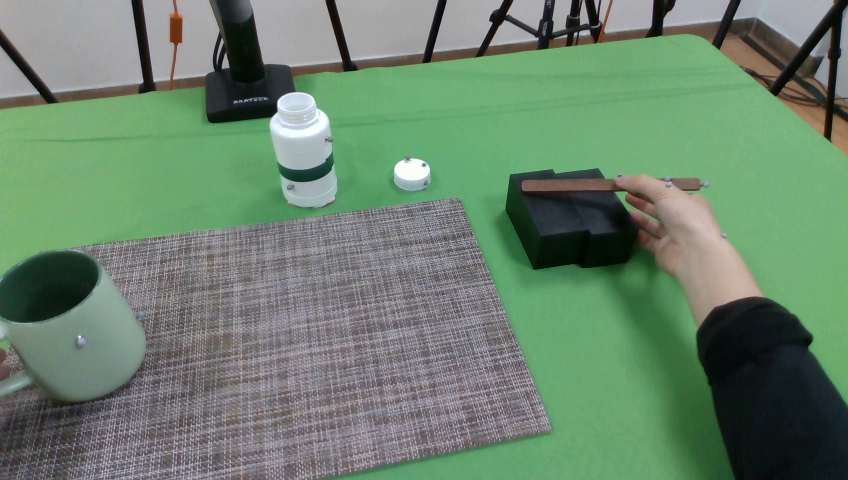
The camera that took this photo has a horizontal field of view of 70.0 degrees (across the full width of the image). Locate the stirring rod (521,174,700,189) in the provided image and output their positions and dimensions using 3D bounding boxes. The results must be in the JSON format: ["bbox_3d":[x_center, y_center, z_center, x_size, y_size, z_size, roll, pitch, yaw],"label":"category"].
[{"bbox_3d":[0.189,-0.060,0.622,0.175,0.006,0.014,2,88,15],"label":"stirring rod"}]

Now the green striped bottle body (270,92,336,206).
[{"bbox_3d":[-0.133,-0.101,0.668,0.063,0.120,0.062,1,45,-1],"label":"green striped bottle body"}]

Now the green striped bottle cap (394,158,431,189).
[{"bbox_3d":[-0.014,-0.079,0.723,0.044,0.020,0.044,0,41,0],"label":"green striped bottle cap"}]

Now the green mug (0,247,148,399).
[{"bbox_3d":[-0.298,0.078,0.487,0.091,0.106,0.125,35,54,29],"label":"green mug"}]
